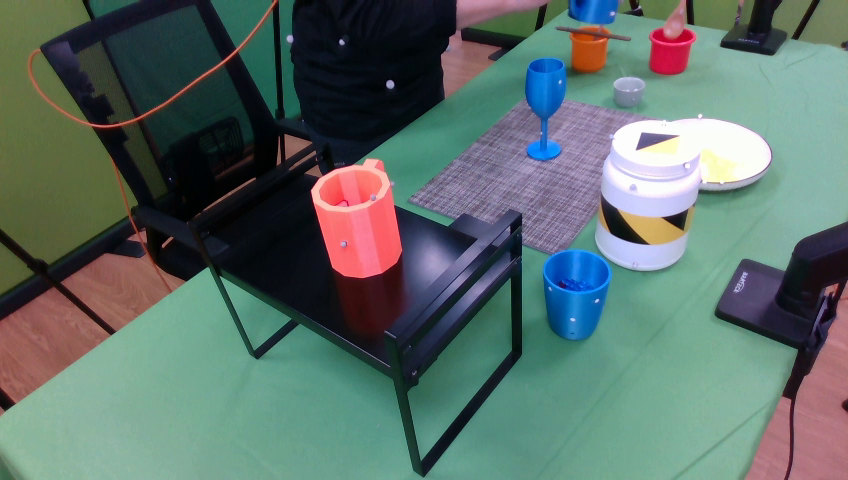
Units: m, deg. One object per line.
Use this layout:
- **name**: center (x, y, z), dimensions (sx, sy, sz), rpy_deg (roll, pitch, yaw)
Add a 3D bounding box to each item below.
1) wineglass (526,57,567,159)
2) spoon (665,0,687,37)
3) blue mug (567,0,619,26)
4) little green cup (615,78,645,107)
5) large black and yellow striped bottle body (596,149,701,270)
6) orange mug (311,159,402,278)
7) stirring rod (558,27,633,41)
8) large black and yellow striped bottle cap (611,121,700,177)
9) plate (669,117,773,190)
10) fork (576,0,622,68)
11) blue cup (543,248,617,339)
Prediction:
- **wineglass**: center (0.221, -0.236, 1.097), dimensions (0.074, 0.173, 0.073), rpy_deg (-5, 41, 4)
- **spoon**: center (0.561, -0.529, 1.285), dimensions (0.041, 0.194, 0.022), rpy_deg (22, 19, 22)
- **blue mug**: center (0.288, -0.430, 1.036), dimensions (0.117, 0.106, 0.081), rpy_deg (-21, 43, -35)
- **little green cup**: center (0.426, -0.306, 1.257), dimensions (0.061, 0.039, 0.061), rpy_deg (-4, 40, 4)
- **large black and yellow striped bottle body**: center (0.323, -0.062, 0.877), dimensions (0.131, 0.185, 0.130), rpy_deg (-5, 40, 4)
- **orange mug**: center (-0.070, -0.034, 0.694), dimensions (0.083, 0.101, 0.126), rpy_deg (5, 46, 16)
- **stirring rod**: center (0.381, -0.463, 1.356), dimensions (0.175, 0.006, 0.014), rpy_deg (21, 49, 30)
- **large black and yellow striped bottle cap**: center (0.314, -0.126, 0.823), dimensions (0.115, 0.019, 0.114), rpy_deg (-4, 42, 4)
- **plate**: center (0.495, -0.148, 1.063), dimensions (0.209, 0.038, 0.208), rpy_deg (-5, 40, 4)
- **fork**: center (0.409, -0.484, 1.381), dimensions (0.028, 0.019, 0.207), rpy_deg (37, 101, 46)
- **blue cup**: center (0.199, 0.076, 0.797), dimensions (0.092, 0.100, 0.092), rpy_deg (-4, 39, 4)
